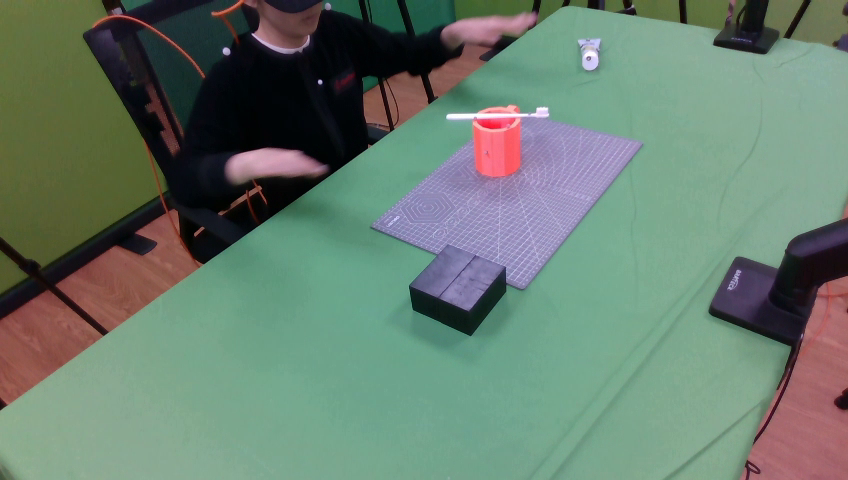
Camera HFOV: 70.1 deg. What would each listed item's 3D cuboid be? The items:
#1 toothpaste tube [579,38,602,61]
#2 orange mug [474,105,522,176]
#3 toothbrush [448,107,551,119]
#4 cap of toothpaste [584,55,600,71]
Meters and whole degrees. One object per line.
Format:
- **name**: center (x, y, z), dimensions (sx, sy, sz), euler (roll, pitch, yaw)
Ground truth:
- **toothpaste tube**: center (0.398, -0.449, 1.433), dimensions (0.055, 0.034, 0.164), euler (6, 38, 8)
- **orange mug**: center (0.145, -0.192, 1.114), dimensions (0.083, 0.101, 0.126), euler (18, 51, 27)
- **toothbrush**: center (0.132, -0.223, 1.072), dimensions (0.181, 0.017, 0.014), euler (0, 42, 9)
- **cap of toothpaste**: center (0.381, -0.403, 1.372), dimensions (0.037, 0.037, 0.011), euler (1, 38, 10)
